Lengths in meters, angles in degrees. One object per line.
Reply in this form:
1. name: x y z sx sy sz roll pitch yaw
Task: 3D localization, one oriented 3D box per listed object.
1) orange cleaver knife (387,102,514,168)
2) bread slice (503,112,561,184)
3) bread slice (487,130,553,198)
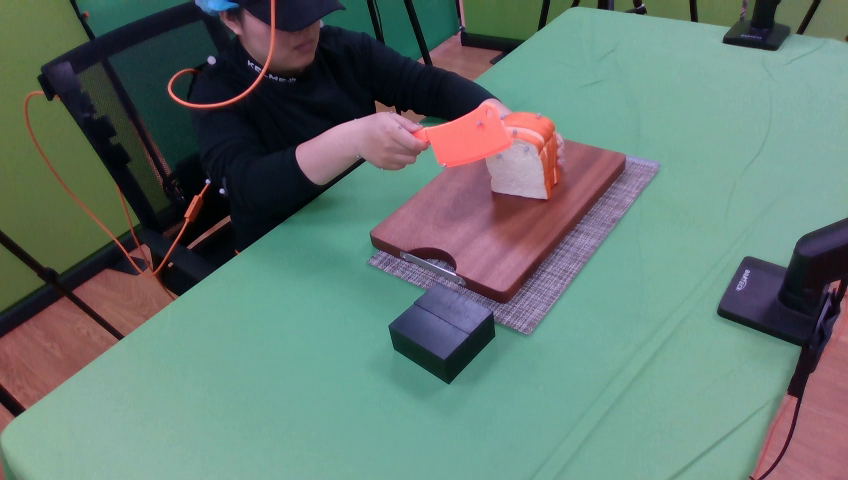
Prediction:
1. orange cleaver knife: 0.034 -0.144 0.879 0.210 0.077 0.012 -6 18 38
2. bread slice: 0.175 -0.152 1.005 0.106 0.135 0.018 13 50 21
3. bread slice: 0.149 -0.121 0.974 0.104 0.132 0.019 9 53 25
